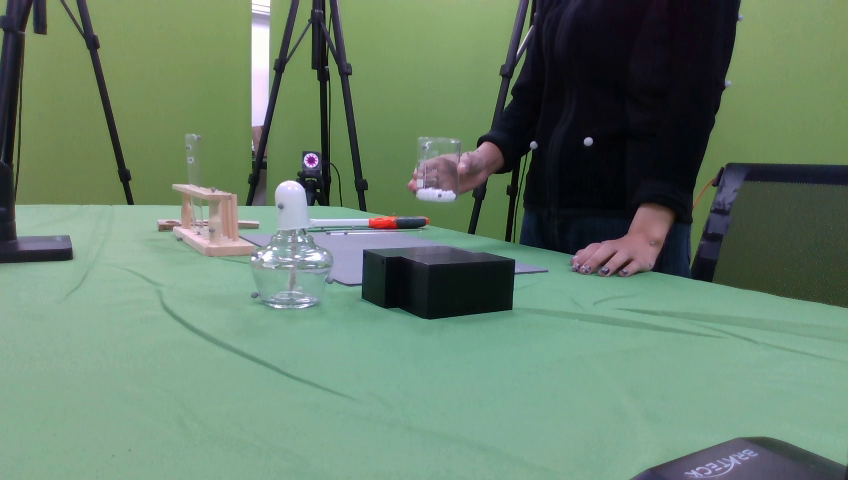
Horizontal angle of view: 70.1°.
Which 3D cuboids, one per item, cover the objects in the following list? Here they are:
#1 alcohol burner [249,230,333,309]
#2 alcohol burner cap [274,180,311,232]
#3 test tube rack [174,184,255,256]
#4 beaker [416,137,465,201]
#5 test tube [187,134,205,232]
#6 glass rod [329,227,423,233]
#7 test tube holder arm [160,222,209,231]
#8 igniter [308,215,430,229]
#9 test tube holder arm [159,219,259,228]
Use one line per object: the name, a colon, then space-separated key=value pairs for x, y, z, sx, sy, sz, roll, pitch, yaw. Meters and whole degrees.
alcohol burner: x=-0.125 y=0.004 z=0.568 sx=0.078 sy=0.119 sz=0.078 roll=2 pitch=10 yaw=0
alcohol burner cap: x=-0.125 y=-0.032 z=0.563 sx=0.034 sy=0.048 sz=0.034 roll=-5 pitch=6 yaw=1
test tube rack: x=-0.327 y=-0.036 z=0.928 sx=0.067 sy=0.085 sz=0.241 roll=-2 pitch=9 yaw=-32
beaker: x=0.022 y=-0.115 z=0.978 sx=0.074 sy=0.100 sz=0.083 roll=-5 pitch=10 yaw=-45
test tube: x=-0.350 y=-0.087 z=0.928 sx=0.017 sy=0.150 sz=0.017 roll=-3 pitch=5 yaw=1
glass rod: x=-0.087 y=-0.019 z=1.148 sx=0.201 sy=0.008 sz=0.008 roll=-3 pitch=8 yaw=-32
test tube holder arm: x=-0.423 y=-0.024 z=1.075 sx=0.088 sy=0.015 sz=0.010 roll=-3 pitch=44 yaw=-38
igniter: x=-0.109 y=-0.037 z=1.228 sx=0.278 sy=0.025 sz=0.057 roll=-3 pitch=-1 yaw=-35
test tube holder arm: x=-0.390 y=-0.030 z=1.107 sx=0.179 sy=0.015 sz=0.013 roll=-3 pitch=44 yaw=-39
